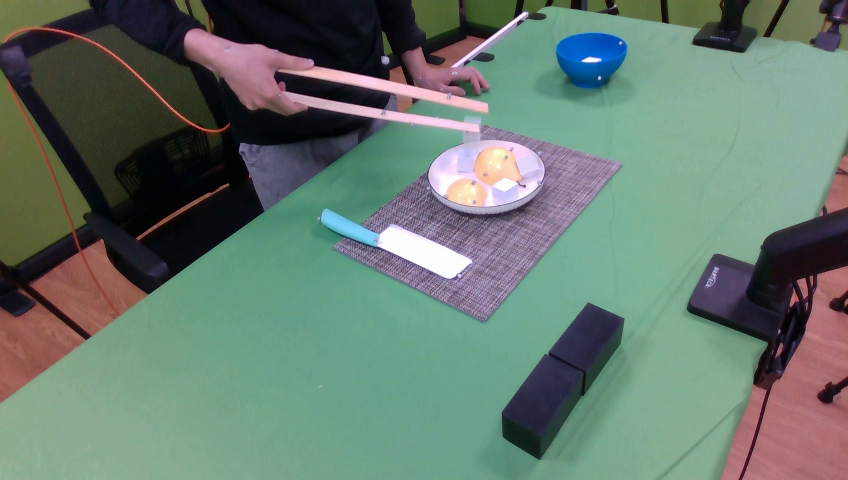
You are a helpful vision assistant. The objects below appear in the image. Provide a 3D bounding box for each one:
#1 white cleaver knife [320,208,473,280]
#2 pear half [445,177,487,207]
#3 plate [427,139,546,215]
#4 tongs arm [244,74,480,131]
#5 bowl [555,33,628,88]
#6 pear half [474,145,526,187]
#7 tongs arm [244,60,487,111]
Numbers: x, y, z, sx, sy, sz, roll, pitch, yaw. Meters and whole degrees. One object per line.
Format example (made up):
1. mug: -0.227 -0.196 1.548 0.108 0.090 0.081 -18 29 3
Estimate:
1. white cleaver knife: -0.053 0.001 0.978 0.284 0.021 0.066 23 40 26
2. pear half: 0.072 -0.086 1.032 0.070 0.031 0.087 -20 37 -10
3. plate: 0.109 -0.106 1.058 0.207 0.039 0.206 -4 40 4
4. tongs arm: -0.094 -0.226 0.989 0.386 0.051 0.026 6 49 -7
5. bowl: 0.362 -0.385 1.319 0.151 0.077 0.150 -4 41 4
6. pear half: 0.140 -0.129 1.059 0.076 0.056 0.109 -37 53 -25
7. tongs arm: -0.088 -0.245 0.968 0.389 0.028 0.027 7 53 -9
